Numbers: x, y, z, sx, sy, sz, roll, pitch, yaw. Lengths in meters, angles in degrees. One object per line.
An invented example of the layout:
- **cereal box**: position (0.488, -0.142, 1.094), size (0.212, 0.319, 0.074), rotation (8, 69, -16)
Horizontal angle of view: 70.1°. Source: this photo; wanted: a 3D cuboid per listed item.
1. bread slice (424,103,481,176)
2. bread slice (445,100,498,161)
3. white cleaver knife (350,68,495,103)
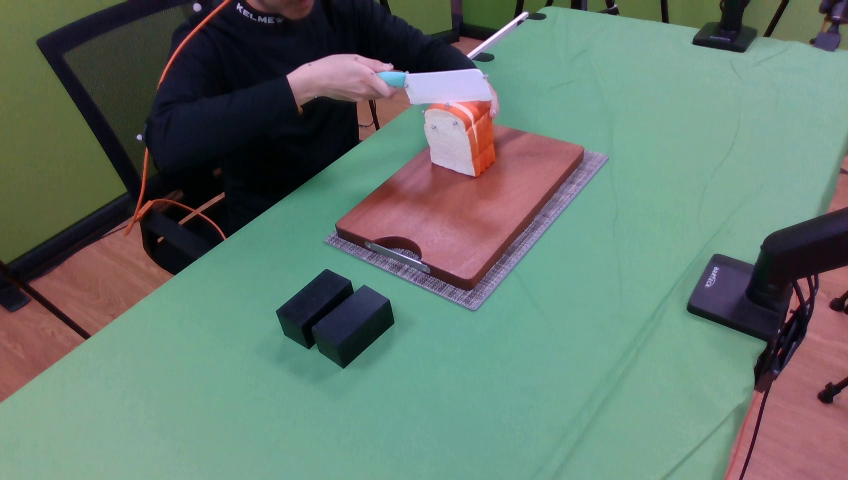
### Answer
- **bread slice**: position (0.044, -0.174, 1.039), size (0.104, 0.132, 0.019), rotation (21, 53, 32)
- **bread slice**: position (0.081, -0.205, 1.069), size (0.106, 0.135, 0.018), rotation (25, 53, 28)
- **white cleaver knife**: position (-0.013, -0.256, 1.016), size (0.284, 0.066, 0.021), rotation (9, 51, 35)
